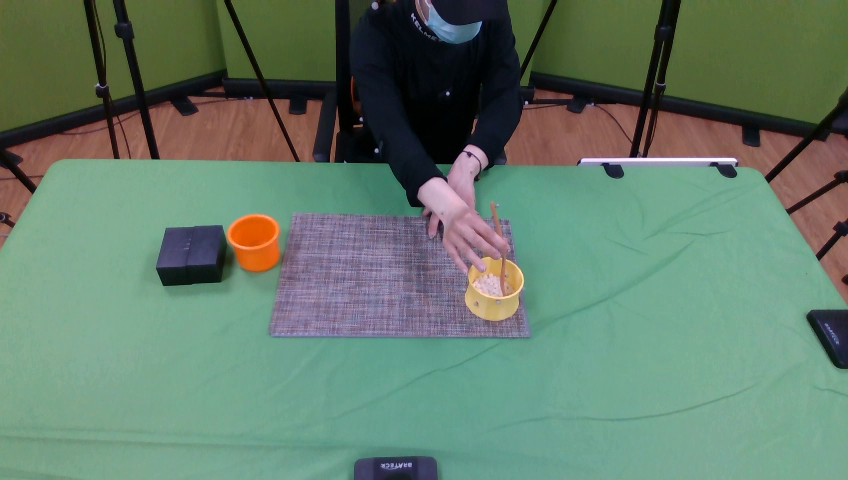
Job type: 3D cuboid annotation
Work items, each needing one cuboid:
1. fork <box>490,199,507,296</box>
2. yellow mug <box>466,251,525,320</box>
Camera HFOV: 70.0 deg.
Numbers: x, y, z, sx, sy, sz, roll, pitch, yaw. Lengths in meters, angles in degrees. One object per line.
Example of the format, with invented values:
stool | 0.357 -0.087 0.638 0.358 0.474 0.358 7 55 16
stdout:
fork | 0.133 0.025 1.040 0.018 0.208 0.028 -9 26 2
yellow mug | 0.125 0.074 1.096 0.100 0.064 0.130 -4 46 -7
